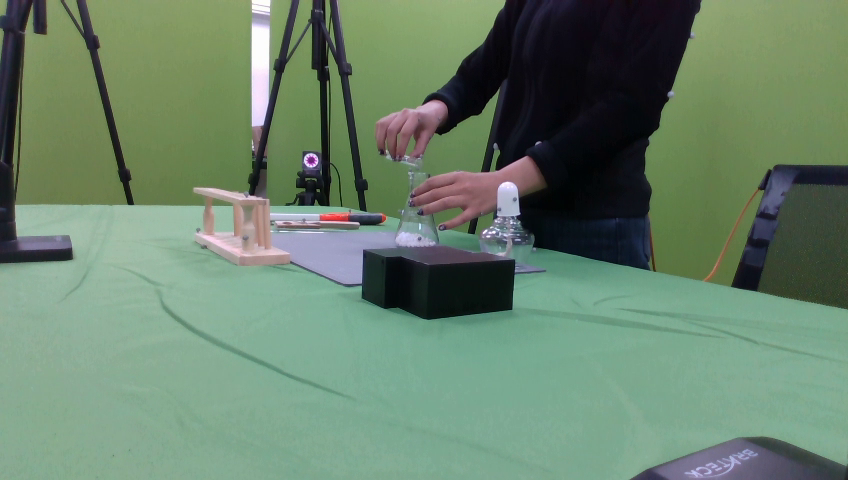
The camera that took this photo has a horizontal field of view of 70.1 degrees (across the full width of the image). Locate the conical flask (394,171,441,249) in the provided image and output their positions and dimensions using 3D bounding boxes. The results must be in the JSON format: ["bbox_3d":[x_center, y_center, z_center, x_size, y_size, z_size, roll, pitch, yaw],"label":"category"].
[{"bbox_3d":[-0.009,-0.050,0.969,0.075,0.122,0.075,2,7,0],"label":"conical flask"}]

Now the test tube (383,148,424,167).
[{"bbox_3d":[-0.038,-0.142,1.033,0.017,0.017,0.149,-1,14,-25],"label":"test tube"}]

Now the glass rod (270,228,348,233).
[{"bbox_3d":[-0.235,-0.017,1.105,0.201,0.008,0.008,1,7,-26],"label":"glass rod"}]

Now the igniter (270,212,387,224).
[{"bbox_3d":[-0.213,-0.048,1.278,0.278,0.025,0.057,-1,-2,-25],"label":"igniter"}]

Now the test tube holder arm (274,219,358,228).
[{"bbox_3d":[-0.206,-0.032,1.176,0.179,0.015,0.013,-4,46,-39],"label":"test tube holder arm"}]

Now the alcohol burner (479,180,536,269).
[{"bbox_3d":[0.114,-0.021,0.816,0.078,0.119,0.078,2,9,0],"label":"alcohol burner"}]

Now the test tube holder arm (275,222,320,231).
[{"bbox_3d":[-0.238,-0.026,1.145,0.088,0.015,0.010,-3,46,-39],"label":"test tube holder arm"}]

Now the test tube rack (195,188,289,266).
[{"bbox_3d":[-0.266,-0.025,0.864,0.067,0.085,0.241,-2,9,-33],"label":"test tube rack"}]

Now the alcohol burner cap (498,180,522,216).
[{"bbox_3d":[0.114,-0.056,0.810,0.034,0.048,0.034,-5,12,1],"label":"alcohol burner cap"}]
